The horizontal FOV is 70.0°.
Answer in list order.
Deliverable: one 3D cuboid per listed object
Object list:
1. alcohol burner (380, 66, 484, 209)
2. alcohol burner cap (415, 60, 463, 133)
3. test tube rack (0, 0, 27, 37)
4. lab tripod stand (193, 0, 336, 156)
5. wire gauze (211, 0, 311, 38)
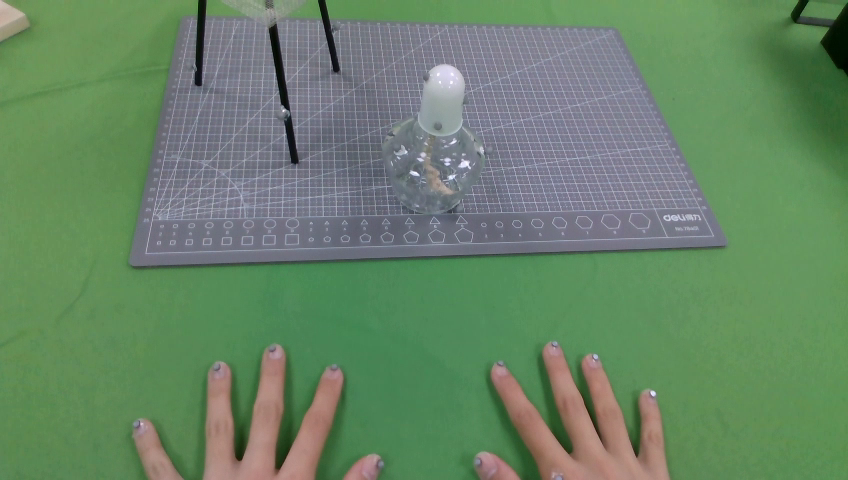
[{"bbox_3d":[0.008,-0.078,0.441,0.078,0.120,0.077,5,52,-6],"label":"alcohol burner"},{"bbox_3d":[0.012,-0.099,0.412,0.034,0.048,0.033,2,57,-3],"label":"alcohol burner cap"},{"bbox_3d":[-0.450,-0.163,0.463,0.066,0.086,0.241,30,55,14],"label":"test tube rack"},{"bbox_3d":[-0.121,-0.161,0.473,0.149,0.132,0.147,5,53,-6],"label":"lab tripod stand"},{"bbox_3d":[-0.116,-0.200,0.421,0.124,0.011,0.121,32,58,11],"label":"wire gauze"}]
